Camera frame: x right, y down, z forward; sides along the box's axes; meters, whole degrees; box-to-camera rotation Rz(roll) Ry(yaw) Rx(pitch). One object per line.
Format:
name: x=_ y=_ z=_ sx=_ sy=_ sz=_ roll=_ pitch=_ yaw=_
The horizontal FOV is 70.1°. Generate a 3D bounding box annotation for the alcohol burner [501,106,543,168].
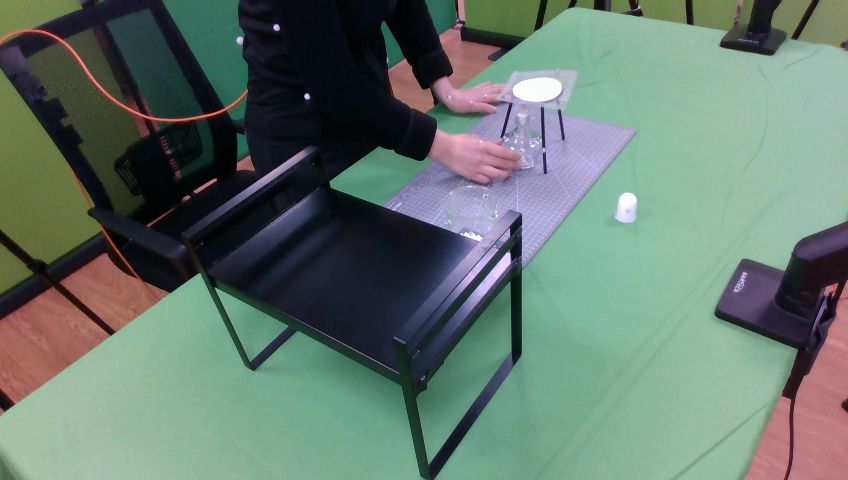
alcohol burner: x=0.179 y=-0.191 z=1.097 sx=0.078 sy=0.119 sz=0.077 roll=-3 pitch=41 yaw=3

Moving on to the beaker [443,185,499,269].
beaker: x=0.071 y=-0.015 z=0.844 sx=0.074 sy=0.101 sz=0.083 roll=-35 pitch=48 yaw=-29

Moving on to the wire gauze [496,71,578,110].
wire gauze: x=0.200 y=-0.268 z=1.065 sx=0.124 sy=0.011 sz=0.121 roll=10 pitch=44 yaw=22

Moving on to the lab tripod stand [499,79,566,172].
lab tripod stand: x=0.204 y=-0.216 z=1.107 sx=0.148 sy=0.132 sz=0.147 roll=-6 pitch=41 yaw=5

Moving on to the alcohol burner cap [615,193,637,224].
alcohol burner cap: x=0.327 y=-0.053 z=0.974 sx=0.034 sy=0.048 sz=0.033 roll=-4 pitch=38 yaw=3
